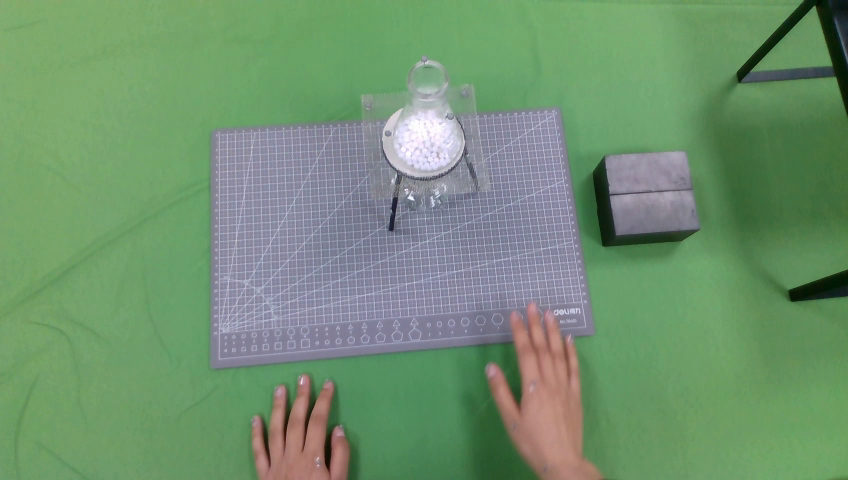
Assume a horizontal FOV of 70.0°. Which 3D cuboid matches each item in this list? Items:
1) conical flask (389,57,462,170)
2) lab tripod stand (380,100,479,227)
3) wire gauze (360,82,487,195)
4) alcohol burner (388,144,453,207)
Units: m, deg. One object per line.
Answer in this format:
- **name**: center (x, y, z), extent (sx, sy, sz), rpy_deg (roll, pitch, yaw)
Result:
- **conical flask**: center (0.002, -0.122, 0.576), extent (0.075, 0.122, 0.075), rpy_deg (0, 73, -1)
- **lab tripod stand**: center (-0.006, -0.093, 0.698), extent (0.148, 0.132, 0.147), rpy_deg (0, 75, 0)
- **wire gauze**: center (-0.001, -0.106, 0.633), extent (0.125, 0.011, 0.121), rpy_deg (-4, 77, -5)
- **alcohol burner**: center (-0.004, -0.082, 0.705), extent (0.078, 0.119, 0.077), rpy_deg (0, 76, 0)
